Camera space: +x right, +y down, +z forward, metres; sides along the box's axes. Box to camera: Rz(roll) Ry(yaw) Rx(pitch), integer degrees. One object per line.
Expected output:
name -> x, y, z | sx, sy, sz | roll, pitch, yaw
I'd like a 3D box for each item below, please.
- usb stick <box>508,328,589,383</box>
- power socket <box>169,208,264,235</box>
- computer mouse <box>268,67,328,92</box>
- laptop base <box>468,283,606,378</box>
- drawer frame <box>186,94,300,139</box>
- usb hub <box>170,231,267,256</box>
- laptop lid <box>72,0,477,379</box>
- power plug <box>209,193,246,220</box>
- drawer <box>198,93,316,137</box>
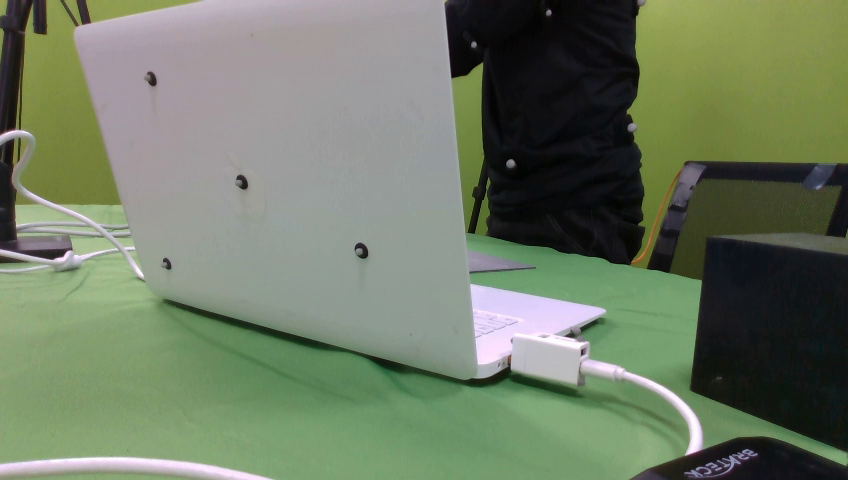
usb stick -> 0.072, 0.072, 0.383 | 0.059, 0.027, 0.021 | 2, 2, 34
power socket -> -0.381, -0.038, 1.128 | 0.072, 0.032, 0.227 | 4, 8, 16
computer mouse -> -0.254, -0.329, 1.230 | 0.118, 0.041, 0.062 | -4, 20, -43
laptop base -> -0.042, 0.058, 0.554 | 0.352, 0.023, 0.237 | 7, 7, 35
drawer frame -> -0.414, -0.276, 1.372 | 0.203, 0.082, 0.212 | -3, 8, -33
usb hub -> -0.290, 0.004, 0.862 | 0.049, 0.025, 0.126 | 11, 11, 42
laptop lid -> -0.125, -0.042, 0.417 | 0.355, 0.241, 0.013 | 9, 25, 34
power plug -> -0.388, -0.067, 1.205 | 0.072, 0.052, 0.035 | 4, 8, 27
drawer -> -0.361, -0.261, 1.295 | 0.195, 0.073, 0.210 | -3, 8, -33
